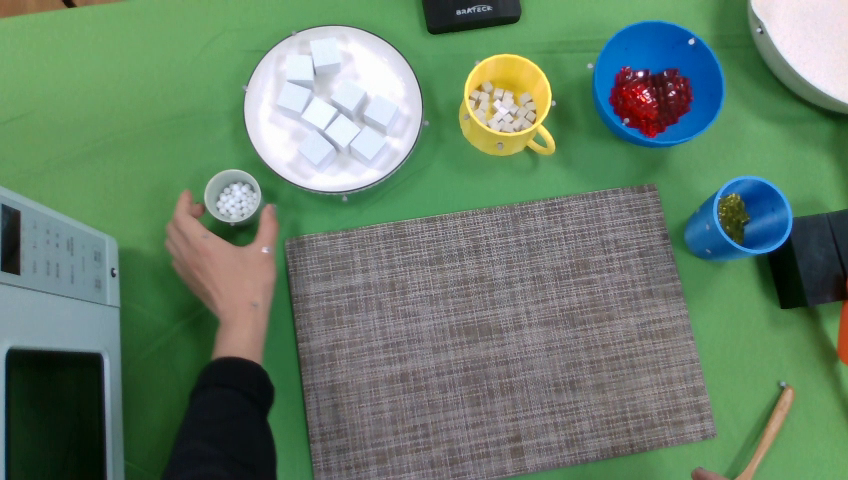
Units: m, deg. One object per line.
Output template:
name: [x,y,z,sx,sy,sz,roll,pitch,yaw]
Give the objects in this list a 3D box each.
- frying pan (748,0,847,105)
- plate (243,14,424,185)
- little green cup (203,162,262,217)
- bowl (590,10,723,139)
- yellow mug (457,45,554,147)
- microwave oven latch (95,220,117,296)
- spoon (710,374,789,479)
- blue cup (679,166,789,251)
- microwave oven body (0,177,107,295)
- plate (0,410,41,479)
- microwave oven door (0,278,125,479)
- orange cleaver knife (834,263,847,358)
frying pan: [0.545,-0.198,0.719,0.307,0.103,0.484,-4,72,-2]
plate: [-0.104,-0.163,0.717,0.208,0.039,0.207,0,80,-2]
little green cup: [-0.216,-0.055,0.691,0.061,0.039,0.061,0,82,-2]
bowl: [0.261,-0.182,0.717,0.151,0.077,0.151,0,81,-2]
yellow mug: [0.103,-0.157,0.711,0.130,0.064,0.100,43,81,4]
microwave oven latch: [-0.351,0.020,0.654,0.030,0.029,0.079,-5,81,-4]
spoon: [0.365,0.232,0.678,0.041,0.022,0.193,34,80,16]
blue cup: [0.338,-0.027,0.682,0.093,0.100,0.092,1,78,-3]
microwave oven body: [-0.475,0.190,0.521,0.326,0.261,0.440,-6,81,-4]
plate: [-0.461,0.246,0.565,0.209,0.038,0.208,1,82,-4]
microwave oven door: [-0.325,0.217,0.519,0.039,0.244,0.354,-6,80,-3]
orange cleaver knife: [0.487,0.115,0.674,0.012,0.076,0.212,-10,109,-4]
